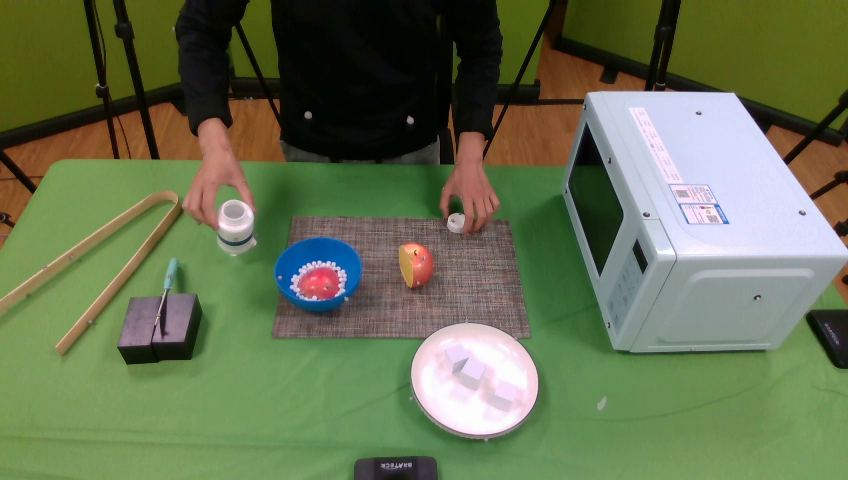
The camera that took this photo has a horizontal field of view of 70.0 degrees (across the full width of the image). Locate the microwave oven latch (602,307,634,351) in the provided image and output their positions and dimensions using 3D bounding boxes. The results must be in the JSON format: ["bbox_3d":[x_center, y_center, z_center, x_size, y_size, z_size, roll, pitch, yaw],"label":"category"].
[{"bbox_3d":[0.332,0.153,1.044,0.030,0.029,0.078,-1,45,-4],"label":"microwave oven latch"}]

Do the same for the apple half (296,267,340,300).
[{"bbox_3d":[-0.187,0.071,1.067,0.081,0.033,0.081,2,47,-2],"label":"apple half"}]

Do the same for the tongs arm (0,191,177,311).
[{"bbox_3d":[-0.618,0.019,1.123,0.050,0.026,0.384,24,47,16],"label":"tongs arm"}]

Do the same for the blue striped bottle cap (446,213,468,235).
[{"bbox_3d":[0.068,-0.034,1.239,0.044,0.021,0.044,1,48,-1],"label":"blue striped bottle cap"}]

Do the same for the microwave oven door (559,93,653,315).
[{"bbox_3d":[0.327,-0.074,1.123,0.039,0.245,0.353,0,46,-5],"label":"microwave oven door"}]

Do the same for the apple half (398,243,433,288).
[{"bbox_3d":[-0.012,0.046,1.115,0.053,0.075,0.080,-11,44,-20],"label":"apple half"}]

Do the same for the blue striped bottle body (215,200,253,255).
[{"bbox_3d":[-0.335,-0.026,1.069,0.063,0.121,0.062,7,63,-13],"label":"blue striped bottle body"}]

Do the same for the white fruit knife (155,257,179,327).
[{"bbox_3d":[-0.440,0.085,1.037,0.016,0.027,0.206,10,26,-19],"label":"white fruit knife"}]

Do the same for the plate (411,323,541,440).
[{"bbox_3d":[0.082,0.228,0.976,0.208,0.039,0.206,2,45,-2],"label":"plate"}]

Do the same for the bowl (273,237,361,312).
[{"bbox_3d":[-0.186,0.075,1.069,0.151,0.077,0.150,3,45,-3],"label":"bowl"}]

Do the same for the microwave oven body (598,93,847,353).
[{"bbox_3d":[0.475,-0.041,1.109,0.326,0.261,0.438,-1,45,-4],"label":"microwave oven body"}]

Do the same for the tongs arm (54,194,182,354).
[{"bbox_3d":[-0.543,0.048,1.107,0.028,0.028,0.385,11,46,10],"label":"tongs arm"}]
